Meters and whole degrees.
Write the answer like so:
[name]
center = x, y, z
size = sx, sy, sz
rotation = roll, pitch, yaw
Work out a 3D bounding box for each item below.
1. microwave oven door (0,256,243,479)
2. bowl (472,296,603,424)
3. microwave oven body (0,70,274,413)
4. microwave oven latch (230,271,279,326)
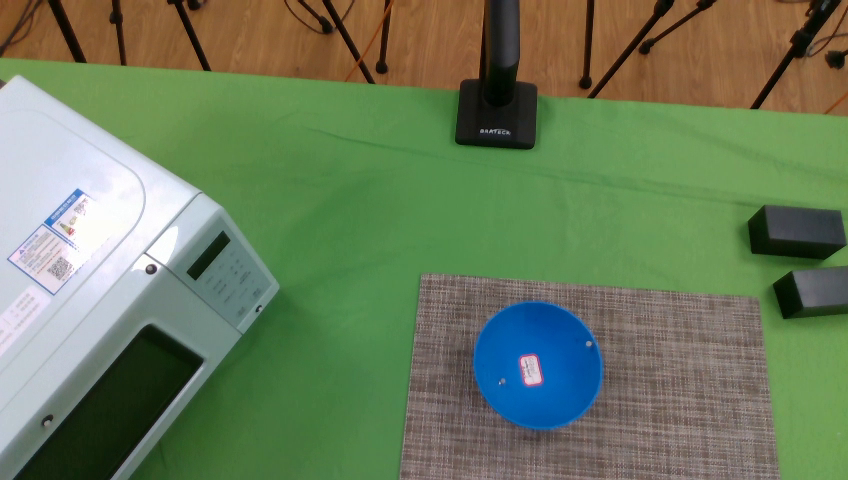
[microwave oven door]
center = -0.347, 0.199, 0.622
size = 0.039, 0.245, 0.355
rotation = 30, 71, 14
[bowl]
center = 0.131, 0.151, 0.736
size = 0.151, 0.077, 0.150
rotation = 0, 66, 1
[microwave oven body]
center = -0.446, 0.096, 0.674
size = 0.324, 0.262, 0.440
rotation = 31, 72, 13
[microwave oven latch]
center = -0.222, 0.072, 0.784
size = 0.030, 0.030, 0.079
rotation = 33, 72, 14
